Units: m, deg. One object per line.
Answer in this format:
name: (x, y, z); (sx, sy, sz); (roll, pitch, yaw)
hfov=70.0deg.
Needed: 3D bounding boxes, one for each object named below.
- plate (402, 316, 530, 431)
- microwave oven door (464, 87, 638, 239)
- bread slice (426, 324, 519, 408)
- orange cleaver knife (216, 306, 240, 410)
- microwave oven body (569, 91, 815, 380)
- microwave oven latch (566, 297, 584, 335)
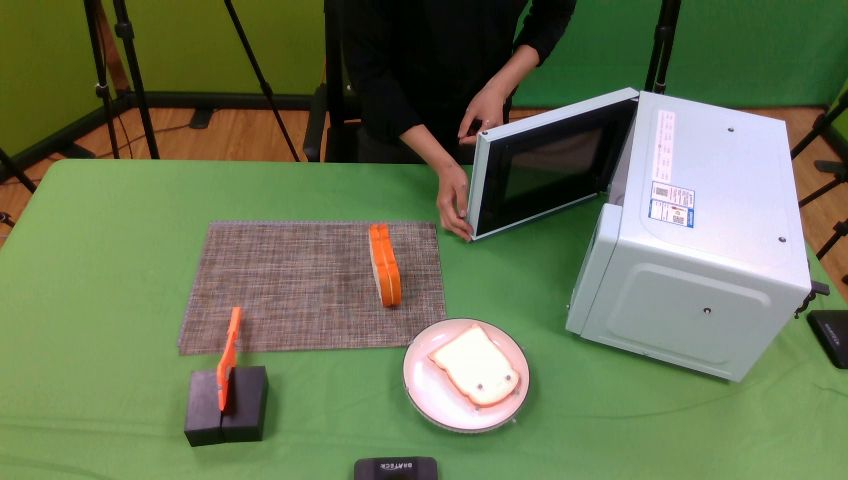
plate: (0.066, 0.217, 0.982); (0.208, 0.039, 0.206); (2, 46, -2)
microwave oven door: (0.248, -0.151, 1.184); (0.356, 0.245, 0.039); (-20, 51, -22)
bread slice: (0.087, 0.209, 0.989); (0.107, 0.018, 0.133); (-32, 57, -26)
orange cleaver knife: (-0.307, 0.180, 0.957); (0.012, 0.077, 0.210); (-2, 25, -8)
microwave oven body: (0.468, -0.022, 1.082); (0.325, 0.261, 0.440); (15, 46, 11)
microwave oven latch: (0.268, 0.126, 1.059); (0.030, 0.029, 0.079); (16, 46, 12)
